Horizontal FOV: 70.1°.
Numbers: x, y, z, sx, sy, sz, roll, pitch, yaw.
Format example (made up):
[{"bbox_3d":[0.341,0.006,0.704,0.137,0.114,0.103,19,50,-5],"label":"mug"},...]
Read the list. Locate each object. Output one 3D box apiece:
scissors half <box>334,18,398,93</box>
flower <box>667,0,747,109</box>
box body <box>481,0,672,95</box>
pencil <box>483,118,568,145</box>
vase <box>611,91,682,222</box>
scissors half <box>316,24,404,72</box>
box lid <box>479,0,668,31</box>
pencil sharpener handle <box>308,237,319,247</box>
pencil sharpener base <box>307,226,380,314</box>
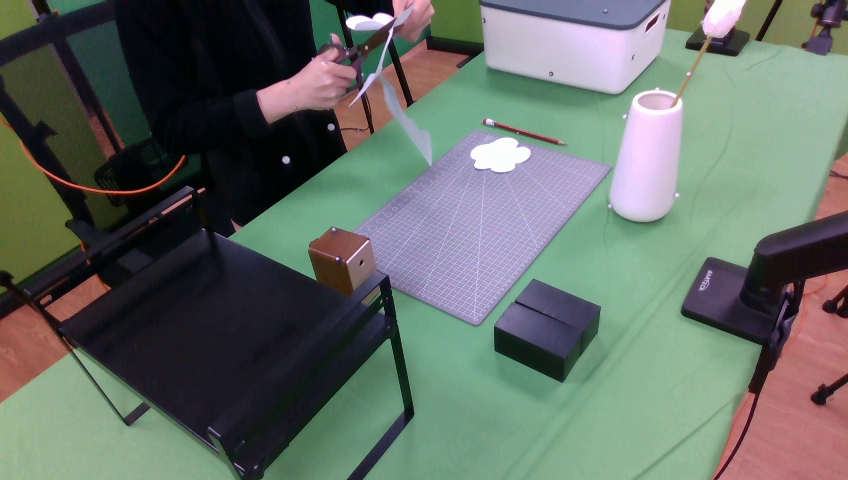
[{"bbox_3d":[-0.090,-0.288,0.952,0.040,0.174,0.013,40,44,-11],"label":"scissors half"},{"bbox_3d":[0.354,-0.187,0.879,0.038,0.362,0.044,31,48,14],"label":"flower"},{"bbox_3d":[0.341,-0.480,1.381,0.361,0.161,0.255,22,48,30],"label":"box body"},{"bbox_3d":[0.201,-0.217,1.211,0.192,0.012,0.012,24,49,29],"label":"pencil"},{"bbox_3d":[0.348,-0.125,0.935,0.098,0.201,0.097,-3,40,3],"label":"vase"},{"bbox_3d":[-0.104,-0.304,0.945,0.174,0.040,0.013,-10,38,31],"label":"scissors half"},{"bbox_3d":[0.335,-0.536,1.331,0.368,0.015,0.264,23,49,30],"label":"box lid"},{"bbox_3d":[-0.159,0.017,0.892,0.030,0.068,0.036,18,62,28],"label":"pencil sharpener handle"},{"bbox_3d":[-0.116,0.043,0.875,0.076,0.107,0.061,18,47,27],"label":"pencil sharpener base"}]
